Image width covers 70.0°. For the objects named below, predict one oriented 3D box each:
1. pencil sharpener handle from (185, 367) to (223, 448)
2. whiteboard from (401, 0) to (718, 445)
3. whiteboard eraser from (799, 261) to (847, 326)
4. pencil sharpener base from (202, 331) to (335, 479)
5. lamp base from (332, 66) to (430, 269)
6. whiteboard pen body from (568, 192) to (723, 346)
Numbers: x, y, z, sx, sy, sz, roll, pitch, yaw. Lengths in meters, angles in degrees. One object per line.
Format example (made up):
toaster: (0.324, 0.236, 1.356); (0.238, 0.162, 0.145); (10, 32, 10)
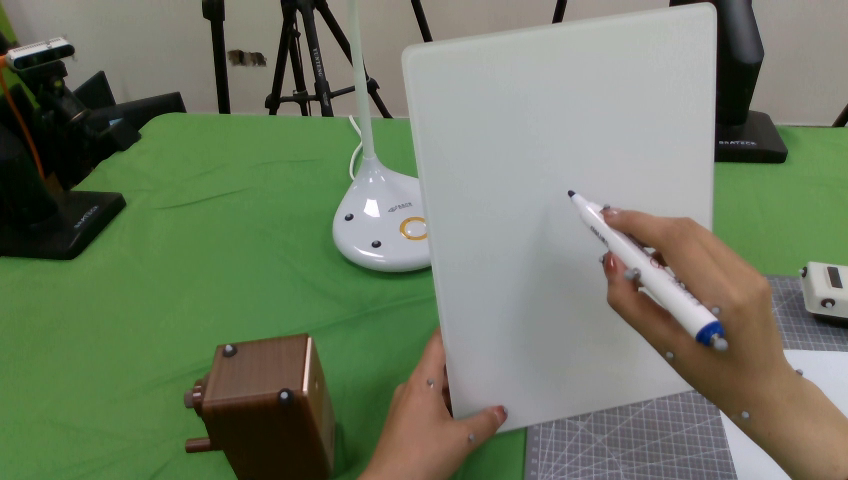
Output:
pencil sharpener handle: (-0.165, 0.126, 0.444); (0.030, 0.068, 0.035); (-7, 26, -1)
whiteboard: (0.102, -0.020, 0.505); (0.217, 0.307, 0.143); (-10, 20, -5)
whiteboard eraser: (0.403, 0.053, 0.542); (0.112, 0.042, 0.055); (9, 42, 17)
pencil sharpener base: (-0.114, 0.128, 0.456); (0.077, 0.108, 0.060); (-7, 39, -1)
lamp base: (-0.039, -0.087, 0.657); (0.161, 0.182, 0.177); (-28, 42, -26)
whiteboard pen body: (0.125, 0.010, 0.363); (0.017, 0.017, 0.139); (-17, 44, -15)
